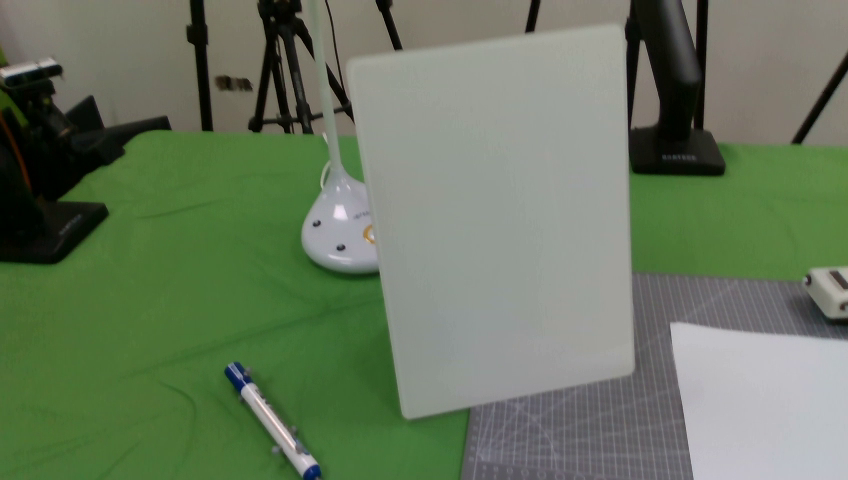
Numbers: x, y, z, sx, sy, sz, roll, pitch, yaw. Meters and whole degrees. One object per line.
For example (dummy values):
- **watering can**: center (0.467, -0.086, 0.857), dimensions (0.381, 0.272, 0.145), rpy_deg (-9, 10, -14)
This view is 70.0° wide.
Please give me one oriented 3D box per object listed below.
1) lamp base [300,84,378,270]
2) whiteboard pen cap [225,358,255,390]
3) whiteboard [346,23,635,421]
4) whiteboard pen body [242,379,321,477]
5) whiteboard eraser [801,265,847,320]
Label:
- **lamp base**: center (-0.085, -0.083, 0.713), dimensions (0.161, 0.182, 0.177), rpy_deg (-27, 40, -28)
- **whiteboard pen cap**: center (-0.170, 0.126, 0.563), dimensions (0.018, 0.018, 0.033), rpy_deg (-29, 48, -30)
- **whiteboard**: center (0.059, -0.023, 0.560), dimensions (0.217, 0.307, 0.143), rpy_deg (-9, 17, -6)
- **whiteboard pen body**: center (-0.132, 0.154, 0.528), dimensions (0.017, 0.017, 0.139), rpy_deg (-29, 46, -30)
- **whiteboard eraser**: center (0.439, 0.051, 0.593), dimensions (0.112, 0.042, 0.055), rpy_deg (-2, 37, 3)
